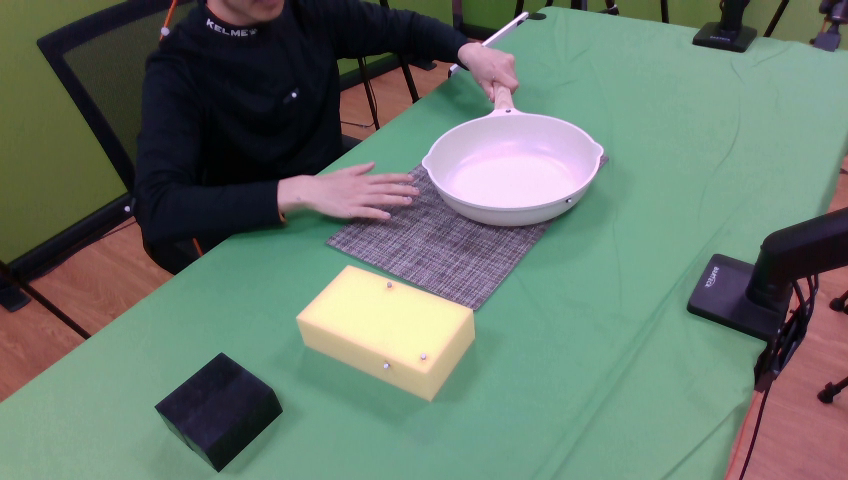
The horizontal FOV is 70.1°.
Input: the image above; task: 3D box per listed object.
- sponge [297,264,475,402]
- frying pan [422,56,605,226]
[{"bbox_3d":[-0.050,0.118,0.811,0.205,0.061,0.118,17,47,26],"label":"sponge"},{"bbox_3d":[0.155,-0.200,1.111,0.307,0.103,0.485,-2,49,5],"label":"frying pan"}]
